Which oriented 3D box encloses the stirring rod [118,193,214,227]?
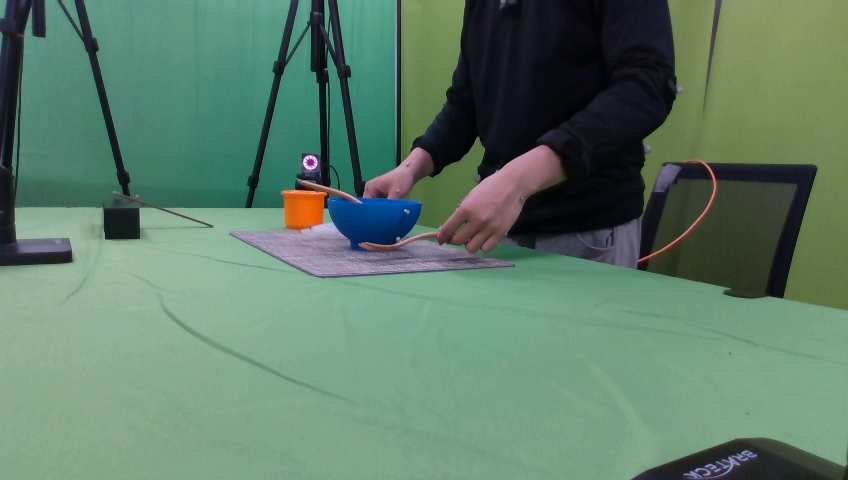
[{"bbox_3d":[-0.484,-0.056,1.142,0.177,0.006,0.014,21,-6,-28],"label":"stirring rod"}]

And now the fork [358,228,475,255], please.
[{"bbox_3d":[-0.005,-0.002,0.876,0.208,0.028,0.018,-9,-24,-34],"label":"fork"}]

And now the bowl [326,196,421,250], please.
[{"bbox_3d":[-0.080,-0.027,0.957,0.151,0.077,0.151,2,7,0],"label":"bowl"}]

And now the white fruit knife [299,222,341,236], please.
[{"bbox_3d":[-0.123,-0.030,1.078,0.208,0.027,0.016,-11,1,-32],"label":"white fruit knife"}]

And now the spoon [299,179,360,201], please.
[{"bbox_3d":[-0.124,-0.068,0.993,0.193,0.021,0.042,25,9,17],"label":"spoon"}]
